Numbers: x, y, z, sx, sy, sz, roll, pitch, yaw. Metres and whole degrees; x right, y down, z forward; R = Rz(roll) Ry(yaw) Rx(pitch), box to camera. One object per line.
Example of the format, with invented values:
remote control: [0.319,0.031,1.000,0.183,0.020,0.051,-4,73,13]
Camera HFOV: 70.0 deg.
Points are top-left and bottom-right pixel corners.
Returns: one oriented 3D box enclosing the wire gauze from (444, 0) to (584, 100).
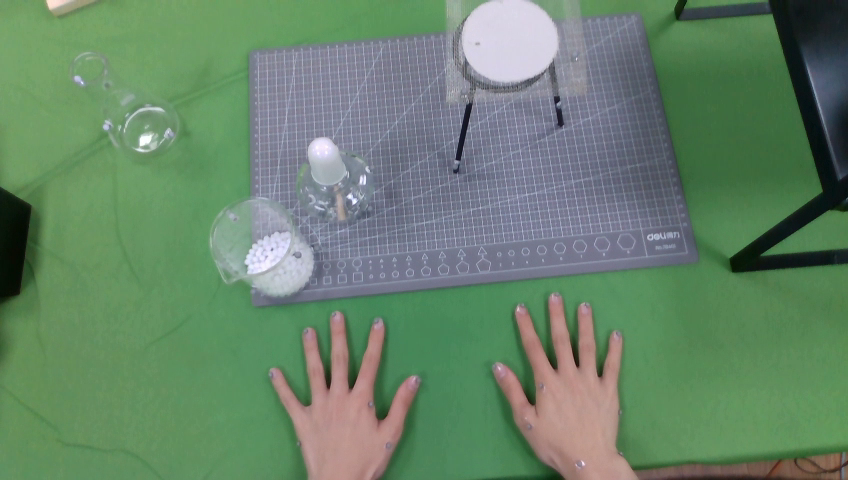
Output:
wire gauze: [0.078,-0.181,0.535,0.121,0.011,0.124,0,73,0]

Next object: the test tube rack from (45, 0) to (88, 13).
test tube rack: [-0.347,-0.361,0.704,0.242,0.085,0.066,-25,73,-6]

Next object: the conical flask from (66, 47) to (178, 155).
conical flask: [-0.310,-0.144,0.615,0.075,0.122,0.075,-1,72,2]

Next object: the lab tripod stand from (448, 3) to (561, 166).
lab tripod stand: [0.073,-0.155,0.598,0.148,0.132,0.147,0,71,1]

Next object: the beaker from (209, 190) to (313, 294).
beaker: [-0.149,0.010,0.571,0.074,0.101,0.083,25,75,10]

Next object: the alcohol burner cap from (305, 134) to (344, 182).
alcohol burner cap: [-0.092,-0.078,0.551,0.034,0.048,0.033,0,65,-1]

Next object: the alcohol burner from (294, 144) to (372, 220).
alcohol burner: [-0.090,-0.064,0.585,0.078,0.120,0.077,0,71,0]
